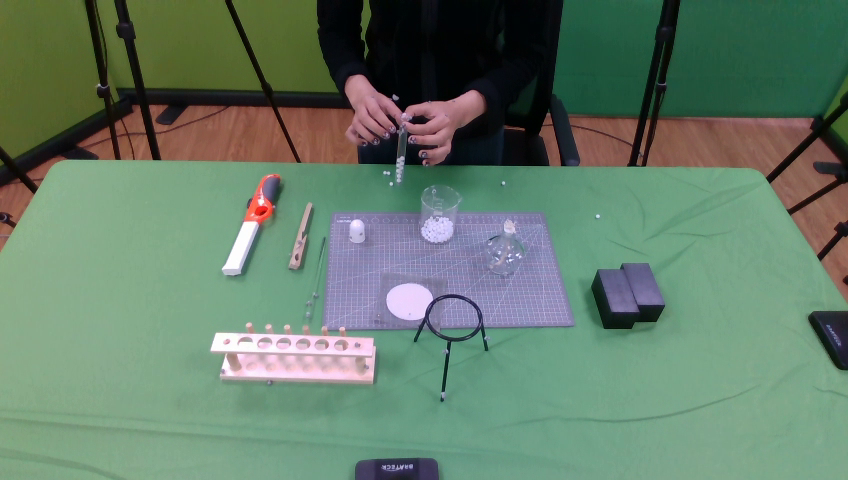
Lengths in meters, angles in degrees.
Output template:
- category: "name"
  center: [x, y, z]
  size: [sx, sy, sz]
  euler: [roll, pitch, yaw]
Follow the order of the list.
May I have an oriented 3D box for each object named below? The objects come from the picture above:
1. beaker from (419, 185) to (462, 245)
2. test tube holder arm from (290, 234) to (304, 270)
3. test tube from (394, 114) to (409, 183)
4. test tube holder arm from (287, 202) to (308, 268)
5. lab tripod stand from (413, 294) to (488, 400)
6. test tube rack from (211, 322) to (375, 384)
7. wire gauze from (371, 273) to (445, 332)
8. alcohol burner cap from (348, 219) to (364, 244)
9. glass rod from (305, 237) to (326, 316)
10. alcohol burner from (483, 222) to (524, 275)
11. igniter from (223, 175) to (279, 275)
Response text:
- category: "beaker"
  center: [0.029, -0.047, 1.191]
  size: [0.084, 0.101, 0.073]
  euler: [-5, 47, -10]
- category: "test tube holder arm"
  center: [-0.243, 0.021, 1.164]
  size: [0.010, 0.015, 0.087]
  euler: [30, 38, -27]
- category: "test tube"
  center: [-0.042, -0.162, 1.094]
  size: [0.017, 0.151, 0.017]
  euler: [4, 47, -5]
- category: "test tube holder arm"
  center: [-0.247, -0.013, 1.193]
  size: [0.013, 0.015, 0.177]
  euler: [30, 39, -27]
- category: "lab tripod stand"
  center: [0.044, 0.159, 0.972]
  size: [0.148, 0.132, 0.147]
  euler: [2, 44, -2]
- category: "test tube rack"
  center: [-0.203, 0.176, 0.969]
  size: [0.242, 0.085, 0.066]
  euler: [3, 46, -2]
- category: "wire gauze"
  center: [-0.028, 0.108, 1.100]
  size: [0.125, 0.011, 0.121]
  euler: [7, 45, 4]
- category: "alcohol burner cap"
  center: [-0.134, -0.019, 1.190]
  size: [0.034, 0.048, 0.033]
  euler: [2, 46, -2]
- category: "glass rod"
  center: [-0.202, 0.063, 1.131]
  size: [0.008, 0.008, 0.198]
  euler: [4, 44, 0]
- category: "alcohol burner"
  center: [0.152, 0.009, 1.135]
  size: [0.078, 0.119, 0.077]
  euler: [4, 47, -4]
- category: "igniter"
  center: [-0.341, -0.039, 1.207]
  size: [0.057, 0.025, 0.275]
  euler: [-1, 45, 8]
